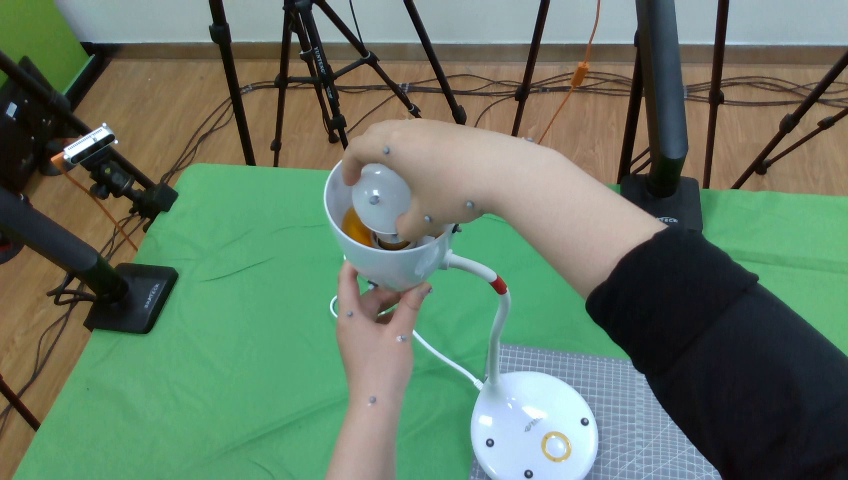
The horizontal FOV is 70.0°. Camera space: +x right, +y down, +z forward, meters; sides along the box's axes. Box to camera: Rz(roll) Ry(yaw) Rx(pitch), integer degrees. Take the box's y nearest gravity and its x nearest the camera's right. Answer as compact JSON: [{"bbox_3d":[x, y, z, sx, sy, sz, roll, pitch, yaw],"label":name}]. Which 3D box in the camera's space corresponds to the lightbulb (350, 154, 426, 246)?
[{"bbox_3d":[-0.028,-0.025,0.495,0.059,0.108,0.059,1,60,0],"label":"lightbulb"}]

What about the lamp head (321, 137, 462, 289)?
[{"bbox_3d":[-0.022,-0.010,0.523,0.112,0.124,0.111,-2,57,4],"label":"lamp head"}]

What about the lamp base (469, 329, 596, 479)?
[{"bbox_3d":[0.118,0.186,0.720,0.177,0.182,0.160,28,62,29],"label":"lamp base"}]
